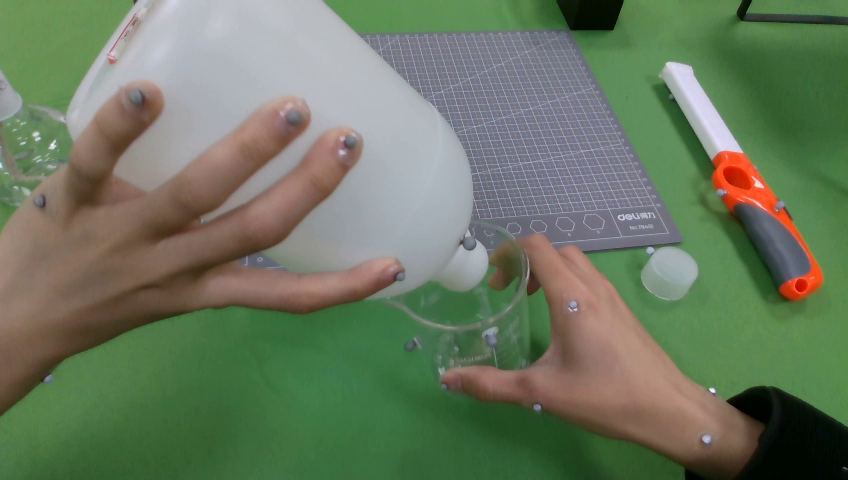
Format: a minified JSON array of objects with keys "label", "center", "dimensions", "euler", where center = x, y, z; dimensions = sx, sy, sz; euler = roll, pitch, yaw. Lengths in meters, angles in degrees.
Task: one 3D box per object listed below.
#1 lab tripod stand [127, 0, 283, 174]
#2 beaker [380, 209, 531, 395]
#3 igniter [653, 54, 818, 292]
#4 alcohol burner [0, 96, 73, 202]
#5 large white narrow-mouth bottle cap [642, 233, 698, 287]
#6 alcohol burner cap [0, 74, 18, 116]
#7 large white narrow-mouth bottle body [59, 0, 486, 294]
[{"label":"lab tripod stand","center":[-0.166,-0.145,0.466],"dimensions":[0.148,0.132,0.147],"euler":[4,52,-5]},{"label":"beaker","center":[0.023,0.043,0.362],"dimensions":[0.084,0.101,0.073],"euler":[-17,51,-2]},{"label":"igniter","center":[0.264,-0.071,0.530],"dimensions":[0.057,0.025,0.273],"euler":[4,52,-17]},{"label":"alcohol burner","center":[-0.294,-0.083,0.420],"dimensions":[0.078,0.120,0.077],"euler":[4,50,-5]},{"label":"large white narrow-mouth bottle cap","center":[0.186,0.015,0.458],"dimensions":[0.038,0.024,0.037],"euler":[3,52,-3]},{"label":"alcohol burner cap","center":[-0.291,-0.104,0.391],"dimensions":[0.034,0.048,0.033],"euler":[3,58,-4]},{"label":"large white narrow-mouth bottle body","center":[-0.040,-0.032,0.270],"dimensions":[0.197,0.101,0.101],"euler":[36,40,-37]}]
